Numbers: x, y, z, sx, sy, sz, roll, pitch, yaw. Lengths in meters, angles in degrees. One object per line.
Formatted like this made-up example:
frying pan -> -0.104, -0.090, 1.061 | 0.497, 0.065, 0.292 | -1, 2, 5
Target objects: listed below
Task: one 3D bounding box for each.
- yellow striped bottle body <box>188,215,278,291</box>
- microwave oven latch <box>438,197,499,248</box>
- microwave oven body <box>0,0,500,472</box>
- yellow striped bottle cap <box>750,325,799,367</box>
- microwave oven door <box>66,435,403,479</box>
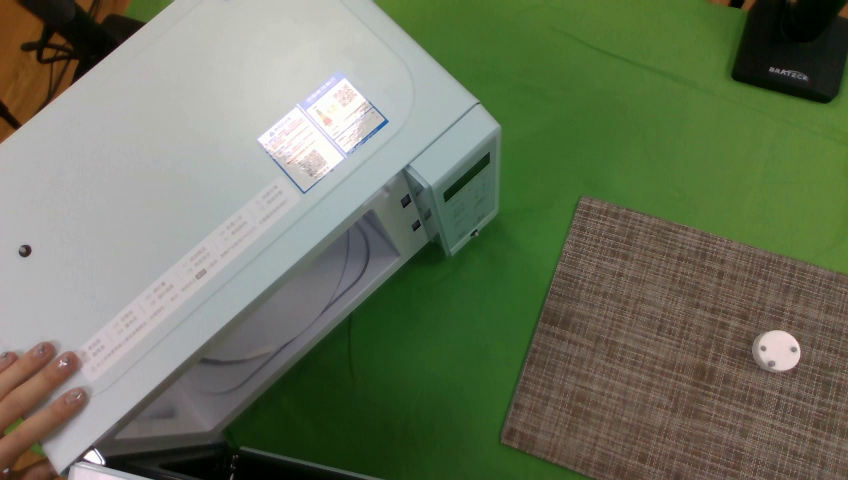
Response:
yellow striped bottle body -> -0.197, 0.013, 0.621 | 0.063, 0.121, 0.062 | 0, 77, 3
microwave oven latch -> 0.051, -0.027, 0.698 | 0.079, 0.029, 0.030 | -41, 76, -4
microwave oven body -> -0.189, -0.035, 0.625 | 0.441, 0.261, 0.324 | -43, 76, -5
yellow striped bottle cap -> 0.378, 0.114, 0.653 | 0.044, 0.019, 0.044 | -2, 76, 7
microwave oven door -> -0.084, 0.236, 0.540 | 0.355, 0.245, 0.039 | 10, 76, 8
